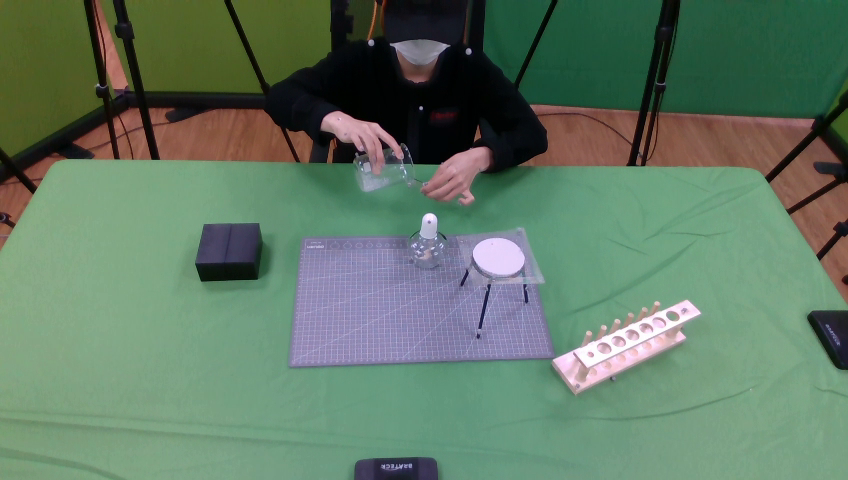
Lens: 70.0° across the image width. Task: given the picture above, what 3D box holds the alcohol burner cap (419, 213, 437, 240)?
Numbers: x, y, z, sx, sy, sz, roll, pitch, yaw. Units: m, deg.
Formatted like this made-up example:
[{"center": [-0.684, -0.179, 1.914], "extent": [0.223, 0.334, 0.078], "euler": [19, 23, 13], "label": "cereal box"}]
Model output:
[{"center": [0.009, -0.027, 1.109], "extent": [0.034, 0.048, 0.033], "euler": [3, 44, -3], "label": "alcohol burner cap"}]

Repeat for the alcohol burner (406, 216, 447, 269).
[{"center": [0.006, -0.002, 1.134], "extent": [0.078, 0.120, 0.077], "euler": [2, 48, -2], "label": "alcohol burner"}]

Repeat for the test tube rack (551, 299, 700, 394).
[{"center": [0.339, 0.166, 1.021], "extent": [0.242, 0.085, 0.066], "euler": [-19, 50, -21], "label": "test tube rack"}]

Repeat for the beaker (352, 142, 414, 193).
[{"center": [-0.079, -0.131, 1.135], "extent": [0.100, 0.084, 0.073], "euler": [-18, 41, -14], "label": "beaker"}]

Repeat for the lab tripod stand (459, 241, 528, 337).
[{"center": [0.122, 0.075, 1.054], "extent": [0.148, 0.132, 0.147], "euler": [3, 44, -3], "label": "lab tripod stand"}]

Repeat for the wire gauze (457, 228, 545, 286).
[{"center": [0.126, 0.029, 1.006], "extent": [0.125, 0.011, 0.120], "euler": [-4, 46, -10], "label": "wire gauze"}]

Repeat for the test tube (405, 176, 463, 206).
[{"center": [0.022, -0.096, 1.216], "extent": [0.151, 0.017, 0.017], "euler": [20, 34, -37], "label": "test tube"}]
